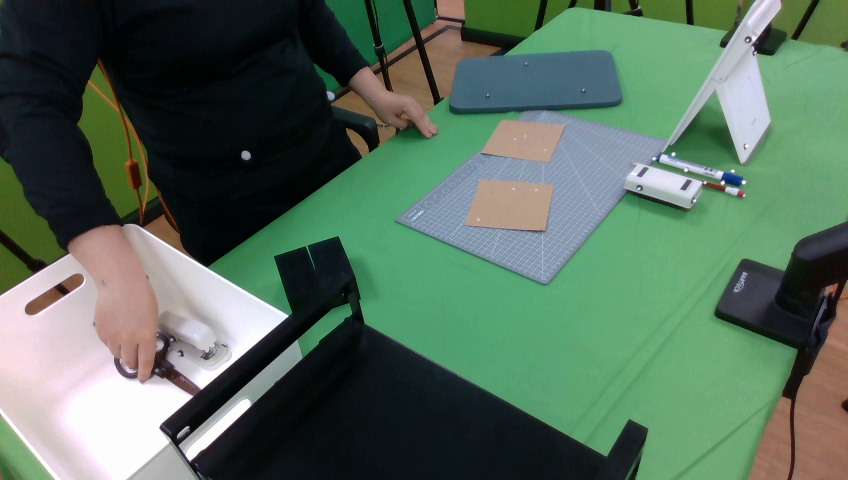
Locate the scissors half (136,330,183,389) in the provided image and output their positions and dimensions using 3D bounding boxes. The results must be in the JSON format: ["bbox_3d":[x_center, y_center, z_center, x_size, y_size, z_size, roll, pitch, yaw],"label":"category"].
[{"bbox_3d":[-0.335,0.175,0.823,0.174,0.013,0.040,35,58,29],"label":"scissors half"}]

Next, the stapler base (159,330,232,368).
[{"bbox_3d":[-0.325,0.142,0.853,0.129,0.024,0.041,14,32,34],"label":"stapler base"}]

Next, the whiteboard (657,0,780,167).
[{"bbox_3d":[0.571,-0.272,1.038,0.143,0.306,0.218,37,54,17],"label":"whiteboard"}]

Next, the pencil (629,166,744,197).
[{"bbox_3d":[0.447,-0.103,1.038,0.192,0.012,0.012,21,48,29],"label":"pencil"}]

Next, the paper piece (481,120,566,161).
[{"bbox_3d":[0.197,-0.199,1.188,0.135,0.004,0.135,11,44,21],"label":"paper piece"}]

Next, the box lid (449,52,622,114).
[{"bbox_3d":[0.249,-0.358,1.370,0.371,0.015,0.262,-1,40,9],"label":"box lid"}]

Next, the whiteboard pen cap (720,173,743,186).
[{"bbox_3d":[0.519,-0.103,1.020,0.033,0.018,0.018,23,49,30],"label":"whiteboard pen cap"}]

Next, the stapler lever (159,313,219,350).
[{"bbox_3d":[-0.329,0.120,0.842,0.117,0.040,0.027,15,33,34],"label":"stapler lever"}]

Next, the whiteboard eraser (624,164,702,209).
[{"bbox_3d":[0.396,-0.087,1.003,0.112,0.042,0.056,22,47,31],"label":"whiteboard eraser"}]

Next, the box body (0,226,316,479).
[{"bbox_3d":[-0.340,0.162,0.728,0.361,0.161,0.255,23,48,31],"label":"box body"}]

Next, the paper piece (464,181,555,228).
[{"bbox_3d":[0.149,-0.062,1.035,0.137,0.009,0.136,4,37,17],"label":"paper piece"}]

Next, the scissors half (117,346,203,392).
[{"bbox_3d":[-0.347,0.187,0.812,0.174,0.013,0.040,18,57,20],"label":"scissors half"}]

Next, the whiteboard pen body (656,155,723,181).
[{"bbox_3d":[0.475,-0.123,1.052,0.139,0.017,0.017,24,50,32],"label":"whiteboard pen body"}]
